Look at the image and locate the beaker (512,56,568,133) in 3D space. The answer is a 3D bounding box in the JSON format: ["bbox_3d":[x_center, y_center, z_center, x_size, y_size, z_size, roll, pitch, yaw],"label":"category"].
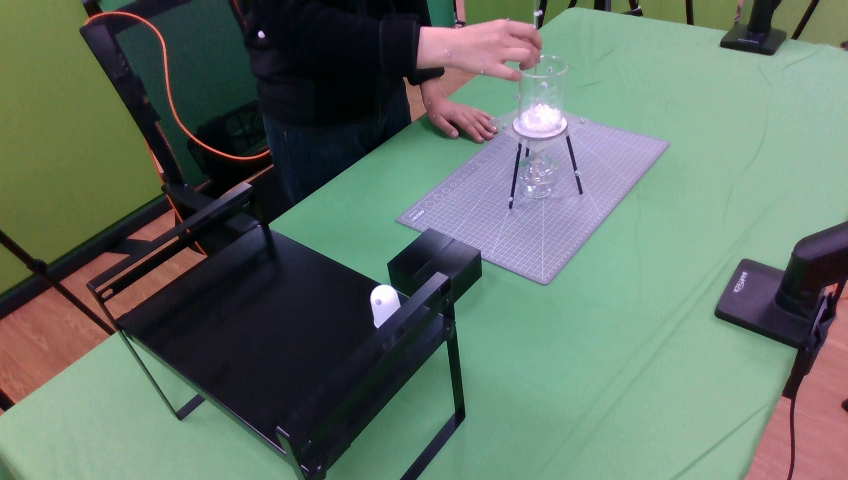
[{"bbox_3d":[0.181,-0.225,0.946,0.084,0.101,0.074,2,41,12],"label":"beaker"}]

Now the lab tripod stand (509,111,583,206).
[{"bbox_3d":[0.198,-0.139,1.019,0.148,0.132,0.147,-3,39,3],"label":"lab tripod stand"}]

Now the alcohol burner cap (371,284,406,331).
[{"bbox_3d":[-0.037,0.065,0.608,0.034,0.048,0.033,-4,41,4],"label":"alcohol burner cap"}]

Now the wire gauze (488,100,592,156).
[{"bbox_3d":[0.185,-0.187,0.975,0.122,0.011,0.124,-28,46,-22],"label":"wire gauze"}]

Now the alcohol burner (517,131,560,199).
[{"bbox_3d":[0.193,-0.131,1.026,0.078,0.119,0.077,-4,38,4],"label":"alcohol burner"}]

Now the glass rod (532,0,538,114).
[{"bbox_3d":[0.168,-0.273,0.911,0.008,0.201,0.008,-5,48,7],"label":"glass rod"}]
